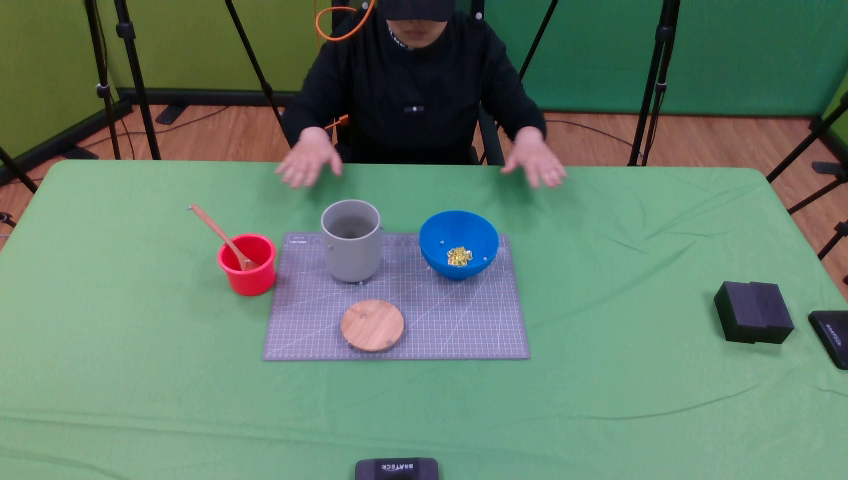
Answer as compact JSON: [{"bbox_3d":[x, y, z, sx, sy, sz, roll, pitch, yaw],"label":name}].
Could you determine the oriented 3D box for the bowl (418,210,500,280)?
[{"bbox_3d":[0.062,0.022,1.140,0.151,0.077,0.150,2,46,-2],"label":"bowl"}]

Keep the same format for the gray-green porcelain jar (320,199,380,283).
[{"bbox_3d":[-0.133,0.007,1.106,0.106,0.127,0.105,2,46,-2],"label":"gray-green porcelain jar"}]

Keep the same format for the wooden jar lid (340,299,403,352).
[{"bbox_3d":[-0.090,0.150,1.046,0.108,0.021,0.107,3,47,-3],"label":"wooden jar lid"}]

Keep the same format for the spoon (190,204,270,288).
[{"bbox_3d":[-0.345,0.009,1.079,0.194,0.021,0.041,54,51,-15],"label":"spoon"}]
